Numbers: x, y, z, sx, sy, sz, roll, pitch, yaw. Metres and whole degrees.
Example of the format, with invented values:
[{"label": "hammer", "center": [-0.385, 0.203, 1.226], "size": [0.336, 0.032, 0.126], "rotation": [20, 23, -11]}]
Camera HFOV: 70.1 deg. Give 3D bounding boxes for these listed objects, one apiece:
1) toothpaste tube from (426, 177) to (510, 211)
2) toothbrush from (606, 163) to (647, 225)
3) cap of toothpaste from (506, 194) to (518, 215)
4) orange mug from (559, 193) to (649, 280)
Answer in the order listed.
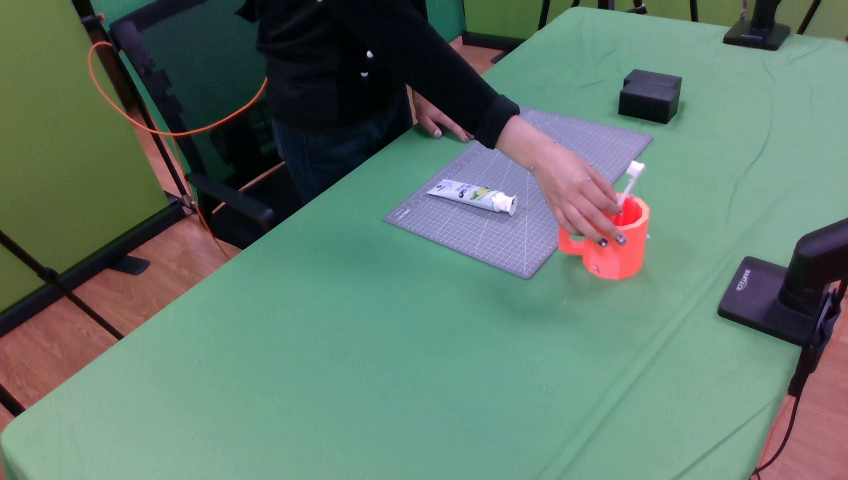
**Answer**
[{"label": "toothpaste tube", "center": [0.083, -0.081, 1.054], "size": [0.164, 0.034, 0.055], "rotation": [18, 40, 34]}, {"label": "toothbrush", "center": [0.270, -0.047, 0.843], "size": [0.016, 0.182, 0.014], "rotation": [19, 59, 8]}, {"label": "cap of toothpaste", "center": [0.146, -0.060, 1.007], "size": [0.011, 0.037, 0.037], "rotation": [14, 46, 22]}, {"label": "orange mug", "center": [0.261, -0.008, 0.884], "size": [0.126, 0.101, 0.083], "rotation": [9, 43, 14]}]
